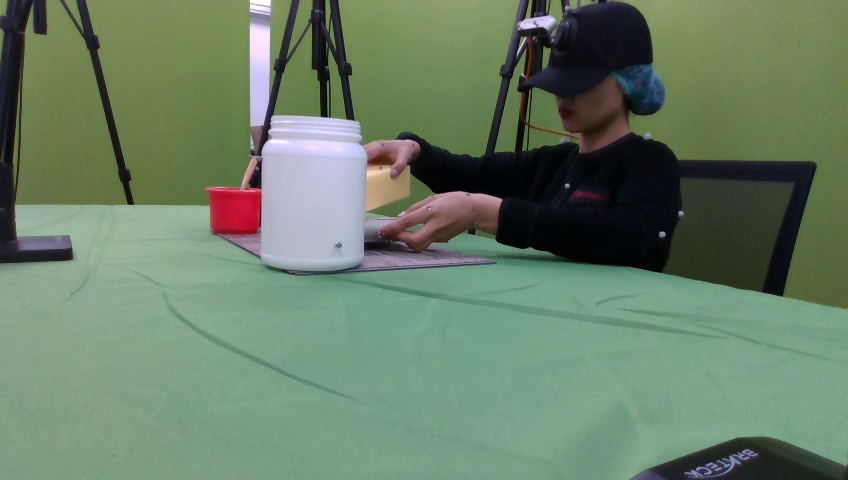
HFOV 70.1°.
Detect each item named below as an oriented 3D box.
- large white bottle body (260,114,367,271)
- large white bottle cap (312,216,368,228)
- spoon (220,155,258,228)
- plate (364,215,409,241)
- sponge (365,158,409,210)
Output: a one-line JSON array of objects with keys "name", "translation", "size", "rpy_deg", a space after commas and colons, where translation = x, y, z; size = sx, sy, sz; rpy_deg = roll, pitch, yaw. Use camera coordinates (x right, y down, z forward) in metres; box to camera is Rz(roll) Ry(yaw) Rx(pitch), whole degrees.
[{"name": "large white bottle body", "translation": [-0.139, -0.062, 0.763], "size": [0.131, 0.184, 0.130], "rpy_deg": [3, 8, 0]}, {"name": "large white bottle cap", "translation": [-0.171, -0.038, 1.234], "size": [0.115, 0.018, 0.115], "rpy_deg": [2, 5, 0]}, {"name": "spoon", "translation": [-0.325, -0.090, 1.091], "size": [0.041, 0.021, 0.193], "rpy_deg": [3, 51, 3]}, {"name": "plate", "translation": [-0.128, -0.020, 0.977], "size": [0.209, 0.038, 0.209], "rpy_deg": [0, 3, 0]}, {"name": "sponge", "translation": [-0.125, -0.098, 1.068], "size": [0.118, 0.061, 0.207], "rpy_deg": [9, 18, 25]}]
